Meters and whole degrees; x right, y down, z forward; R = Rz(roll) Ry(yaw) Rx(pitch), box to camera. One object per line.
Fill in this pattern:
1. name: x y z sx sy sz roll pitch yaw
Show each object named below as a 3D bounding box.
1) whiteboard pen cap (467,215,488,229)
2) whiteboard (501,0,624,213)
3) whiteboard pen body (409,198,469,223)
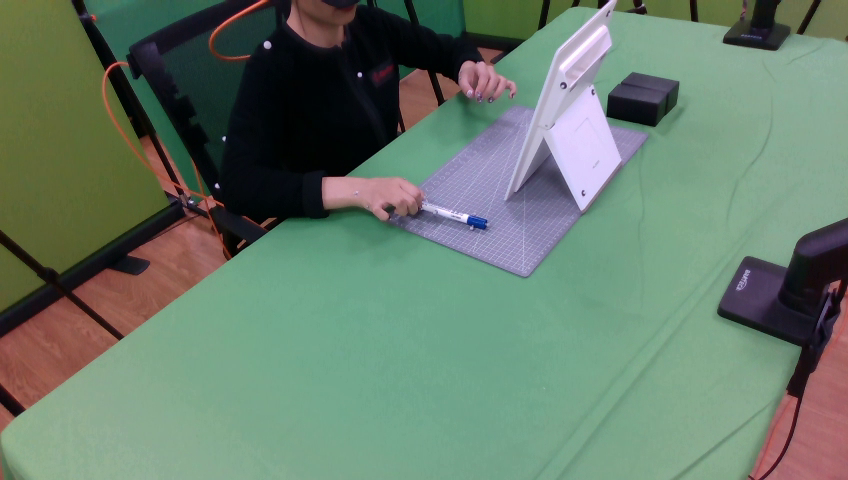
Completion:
1. whiteboard pen cap: 0.088 -0.031 0.999 0.033 0.018 0.018 18 48 25
2. whiteboard: 0.271 -0.189 0.977 0.143 0.306 0.218 34 53 16
3. whiteboard pen body: 0.036 -0.048 1.023 0.140 0.017 0.017 18 48 23
